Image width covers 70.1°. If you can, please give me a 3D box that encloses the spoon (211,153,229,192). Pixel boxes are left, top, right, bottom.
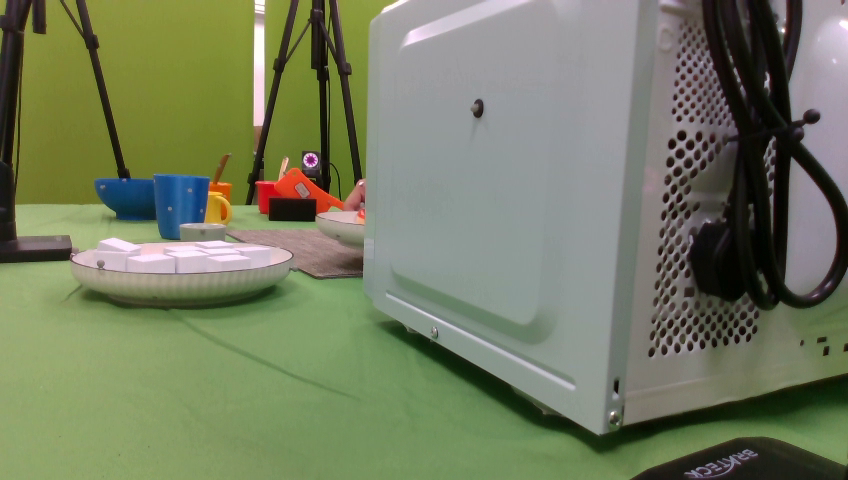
[{"bbox_3d":[-0.431,-0.115,1.253,0.042,0.193,0.021,-3,54,-33],"label":"spoon"}]

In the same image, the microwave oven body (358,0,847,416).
[{"bbox_3d":[0.211,-0.047,0.475,0.444,0.260,0.324,-1,7,-28],"label":"microwave oven body"}]

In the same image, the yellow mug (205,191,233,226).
[{"bbox_3d":[-0.415,-0.057,1.131,0.130,0.064,0.100,6,8,16],"label":"yellow mug"}]

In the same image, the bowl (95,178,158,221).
[{"bbox_3d":[-0.576,-0.081,1.217,0.151,0.077,0.151,3,8,0],"label":"bowl"}]

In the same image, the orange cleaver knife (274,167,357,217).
[{"bbox_3d":[-0.238,-0.091,1.381,0.212,0.077,0.012,31,0,-19],"label":"orange cleaver knife"}]

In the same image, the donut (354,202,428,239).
[{"bbox_3d":[-0.043,-0.024,0.800,0.099,0.048,0.099,6,9,-1],"label":"donut"}]

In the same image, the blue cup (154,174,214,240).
[{"bbox_3d":[-0.390,-0.053,0.978,0.093,0.100,0.092,4,6,0],"label":"blue cup"}]

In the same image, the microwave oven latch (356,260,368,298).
[{"bbox_3d":[-0.020,0.033,0.530,0.079,0.029,0.030,0,7,-26],"label":"microwave oven latch"}]

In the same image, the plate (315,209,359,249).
[{"bbox_3d":[-0.040,-0.012,0.798,0.209,0.038,0.209,4,7,0],"label":"plate"}]

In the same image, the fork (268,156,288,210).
[{"bbox_3d":[-0.360,-0.144,1.508,0.028,0.018,0.207,1,49,0],"label":"fork"}]

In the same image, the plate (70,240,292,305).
[{"bbox_3d":[-0.242,0.031,0.618,0.208,0.039,0.207,2,8,0],"label":"plate"}]

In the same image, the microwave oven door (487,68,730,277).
[{"bbox_3d":[0.227,-0.097,0.832,0.039,0.243,0.354,-4,10,-38],"label":"microwave oven door"}]

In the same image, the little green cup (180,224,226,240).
[{"bbox_3d":[-0.308,-0.001,0.846,0.061,0.038,0.061,2,8,0],"label":"little green cup"}]
